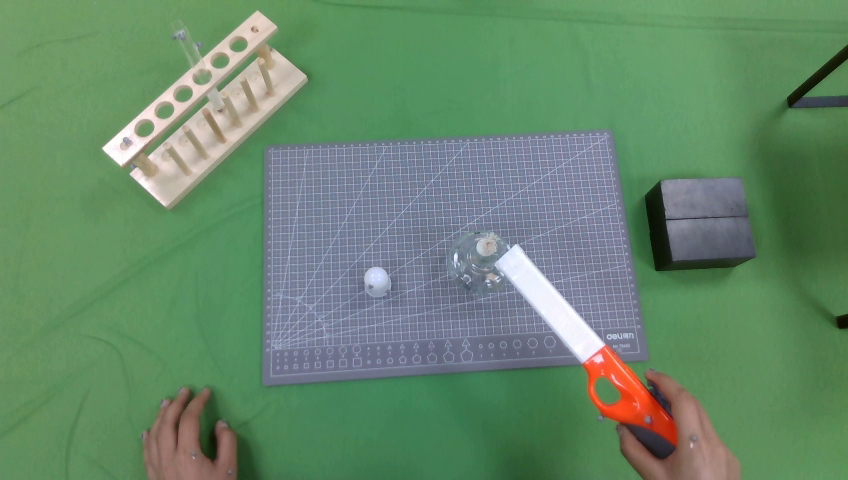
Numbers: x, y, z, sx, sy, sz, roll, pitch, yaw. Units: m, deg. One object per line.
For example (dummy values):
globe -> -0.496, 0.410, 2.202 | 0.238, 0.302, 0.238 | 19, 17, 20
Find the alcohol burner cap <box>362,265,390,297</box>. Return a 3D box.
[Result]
alcohol burner cap -> -0.057, 0.047, 0.708 | 0.034, 0.048, 0.033 | 0, 73, 0

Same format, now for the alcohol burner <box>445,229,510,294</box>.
alcohol burner -> 0.064, 0.019, 0.683 | 0.078, 0.119, 0.077 | 1, 72, -3

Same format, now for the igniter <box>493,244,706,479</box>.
igniter -> 0.164, 0.117, 0.573 | 0.057, 0.025, 0.275 | -43, 76, 14

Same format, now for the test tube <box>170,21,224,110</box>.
test tube -> -0.258, -0.196, 0.697 | 0.017, 0.151, 0.017 | 1, 69, -1

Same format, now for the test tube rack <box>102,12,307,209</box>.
test tube rack -> -0.257, -0.156, 0.737 | 0.066, 0.085, 0.242 | 40, 77, 10
